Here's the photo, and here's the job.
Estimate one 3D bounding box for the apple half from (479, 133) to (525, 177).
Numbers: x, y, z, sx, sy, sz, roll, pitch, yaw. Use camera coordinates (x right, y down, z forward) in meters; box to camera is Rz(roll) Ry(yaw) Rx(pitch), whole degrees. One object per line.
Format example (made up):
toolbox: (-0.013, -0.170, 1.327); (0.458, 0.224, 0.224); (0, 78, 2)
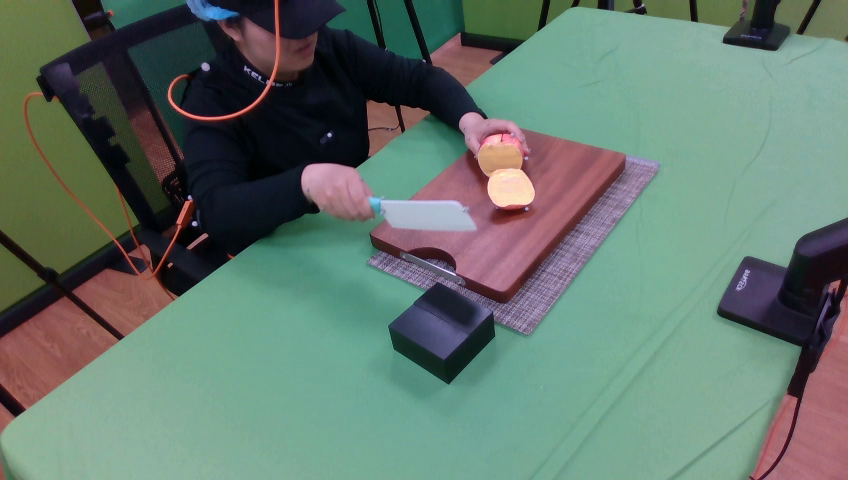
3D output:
apple half: (0.139, -0.151, 1.055); (0.080, 0.075, 0.053); (1, 37, 18)

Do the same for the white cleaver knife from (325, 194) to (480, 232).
white cleaver knife: (-0.044, -0.036, 0.884); (0.284, 0.066, 0.021); (7, 50, 41)

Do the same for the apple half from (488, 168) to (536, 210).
apple half: (0.142, -0.080, 0.995); (0.081, 0.033, 0.081); (1, 62, -2)
